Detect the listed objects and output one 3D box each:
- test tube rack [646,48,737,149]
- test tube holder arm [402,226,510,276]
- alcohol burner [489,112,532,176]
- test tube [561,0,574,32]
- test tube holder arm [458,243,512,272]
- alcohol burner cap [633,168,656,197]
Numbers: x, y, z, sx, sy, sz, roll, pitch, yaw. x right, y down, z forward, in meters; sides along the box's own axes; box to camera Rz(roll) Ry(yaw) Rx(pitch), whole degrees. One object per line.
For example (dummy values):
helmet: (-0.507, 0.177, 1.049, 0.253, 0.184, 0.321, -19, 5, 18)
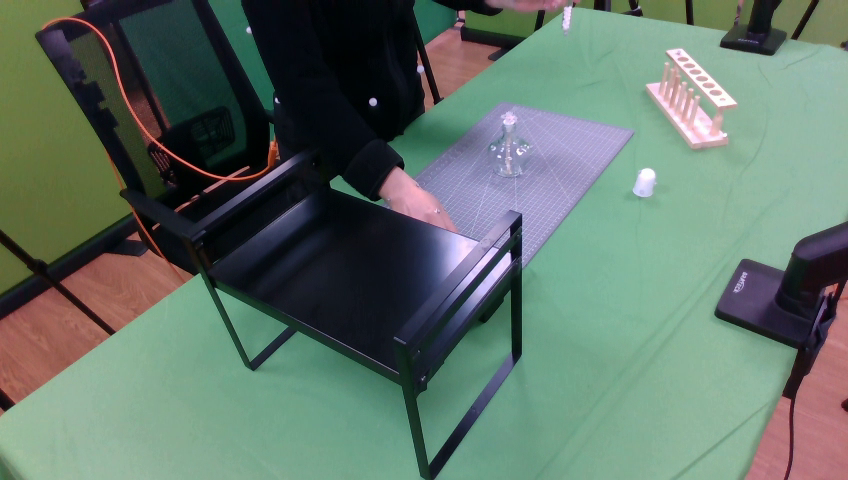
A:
test tube rack: (0.511, -0.280, 1.175, 0.067, 0.085, 0.241, -8, 41, 0)
test tube holder arm: (0.042, 0.014, 0.868, 0.177, 0.015, 0.013, 21, 48, 26)
alcohol burner: (0.155, -0.176, 1.083, 0.078, 0.119, 0.077, -3, 41, 3)
test tube: (0.250, -0.430, 1.035, 0.017, 0.150, 0.017, 7, -1, 1)
test tube holder arm: (0.083, 0.025, 0.851, 0.087, 0.015, 0.010, 21, 49, 27)
alcohol burner cap: (0.374, -0.099, 1.018, 0.034, 0.048, 0.033, -1, 42, 1)
